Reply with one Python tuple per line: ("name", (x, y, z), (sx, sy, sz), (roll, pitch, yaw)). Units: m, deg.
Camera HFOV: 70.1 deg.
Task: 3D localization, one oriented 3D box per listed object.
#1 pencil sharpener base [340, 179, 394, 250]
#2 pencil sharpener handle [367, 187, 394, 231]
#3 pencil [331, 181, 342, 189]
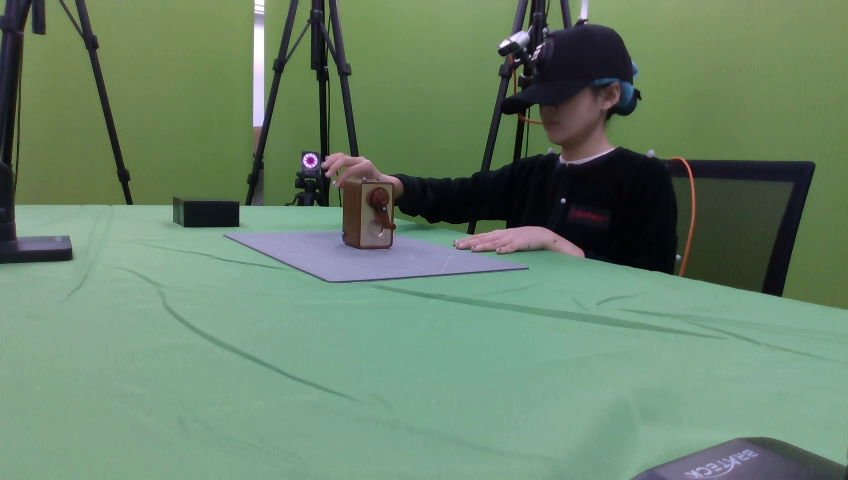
("pencil sharpener base", (-0.091, -0.041, 0.959), (0.061, 0.107, 0.076), (-1, 9, -30))
("pencil sharpener handle", (-0.061, -0.046, 0.916), (0.036, 0.068, 0.030), (-19, 17, -26))
("pencil", (-0.143, -0.093, 1.080), (0.012, 0.012, 0.193), (0, 10, -21))
